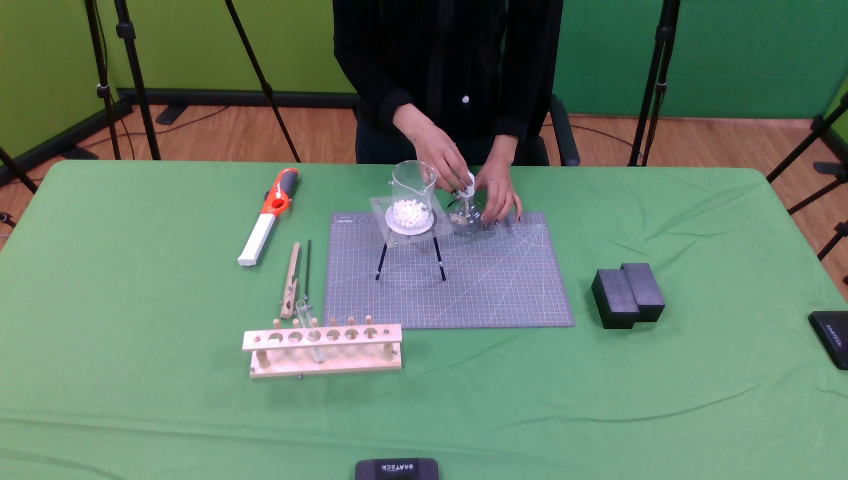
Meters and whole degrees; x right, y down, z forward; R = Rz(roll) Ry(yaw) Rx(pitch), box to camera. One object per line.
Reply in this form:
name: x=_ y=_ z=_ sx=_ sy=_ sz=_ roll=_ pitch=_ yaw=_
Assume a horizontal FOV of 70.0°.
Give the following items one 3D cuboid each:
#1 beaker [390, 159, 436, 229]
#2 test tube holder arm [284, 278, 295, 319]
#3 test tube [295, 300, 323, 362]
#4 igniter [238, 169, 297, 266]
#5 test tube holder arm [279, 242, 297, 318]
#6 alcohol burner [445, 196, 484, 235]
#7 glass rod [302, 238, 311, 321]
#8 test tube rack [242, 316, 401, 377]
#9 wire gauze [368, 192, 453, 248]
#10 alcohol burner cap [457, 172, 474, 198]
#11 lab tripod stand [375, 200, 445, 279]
beaker: x=-0.020 y=-0.073 z=1.029 sx=0.074 sy=0.101 sz=0.083 roll=-10 pitch=48 yaw=-16
test tube holder arm: x=-0.241 y=0.103 z=1.085 sx=0.010 sy=0.015 sz=0.087 roll=26 pitch=38 yaw=-27
test tube: x=-0.176 y=0.143 z=0.935 sx=0.017 sy=0.151 sz=0.017 roll=-2 pitch=47 yaw=2
igniter: x=-0.313 y=-0.055 z=1.224 sx=0.057 sy=0.025 sz=0.275 roll=1 pitch=45 yaw=10
test tube holder arm: x=-0.248 y=0.069 z=1.114 sx=0.013 sy=0.015 sz=0.177 roll=25 pitch=38 yaw=-27
alcohol burner: x=0.082 y=-0.066 z=1.203 sx=0.078 sy=0.120 sz=0.077 roll=2 pitch=48 yaw=-2
glass rod: x=-0.218 y=0.069 z=1.125 sx=0.008 sy=0.008 sz=0.198 roll=-1 pitch=47 yaw=-5
test tube rack: x=-0.161 y=0.166 z=0.983 sx=0.242 sy=0.085 sz=0.066 roll=-2 pitch=46 yaw=-6
wire gauze: x=-0.025 y=-0.041 z=1.065 sx=0.122 sy=0.011 sz=0.124 roll=-10 pitch=46 yaw=-18
alcohol burner cap: x=0.081 y=-0.107 z=1.154 sx=0.034 sy=0.048 sz=0.033 roll=1 pitch=50 yaw=-1
lab tripod stand: x=-0.023 y=0.003 z=1.113 sx=0.148 sy=0.132 sz=0.147 roll=4 pitch=45 yaw=-3
